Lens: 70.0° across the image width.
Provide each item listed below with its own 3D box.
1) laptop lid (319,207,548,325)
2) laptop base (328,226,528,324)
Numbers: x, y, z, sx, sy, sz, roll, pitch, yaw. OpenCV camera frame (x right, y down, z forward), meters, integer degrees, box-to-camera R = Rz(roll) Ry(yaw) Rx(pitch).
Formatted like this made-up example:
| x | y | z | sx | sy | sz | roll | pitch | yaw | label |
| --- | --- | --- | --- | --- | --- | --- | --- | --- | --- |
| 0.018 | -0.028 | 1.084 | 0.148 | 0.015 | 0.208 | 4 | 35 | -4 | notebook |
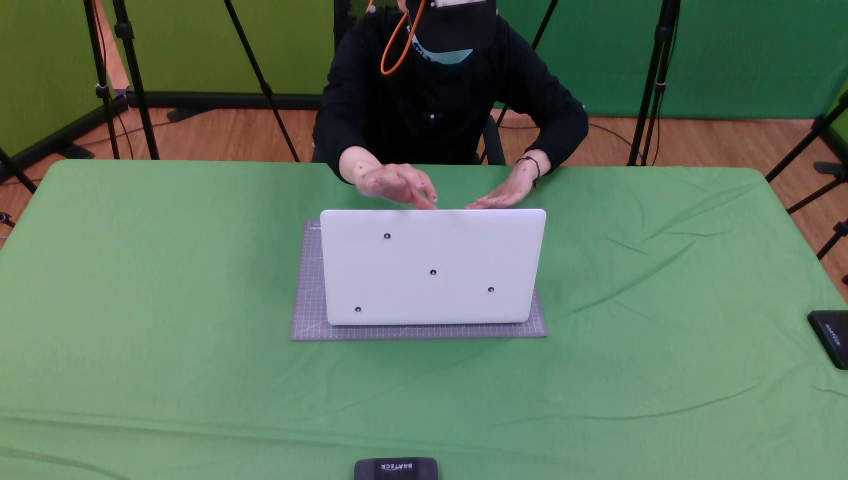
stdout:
| x | y | z | sx | sy | sz | roll | pitch | yaw | label |
| --- | --- | --- | --- | --- | --- | --- | --- | --- | --- |
| 0.014 | 0.048 | 0.983 | 0.357 | 0.243 | 0.013 | 0 | 35 | -5 | laptop lid |
| 0.005 | 0.061 | 1.136 | 0.355 | 0.023 | 0.234 | 0 | 43 | -4 | laptop base |
